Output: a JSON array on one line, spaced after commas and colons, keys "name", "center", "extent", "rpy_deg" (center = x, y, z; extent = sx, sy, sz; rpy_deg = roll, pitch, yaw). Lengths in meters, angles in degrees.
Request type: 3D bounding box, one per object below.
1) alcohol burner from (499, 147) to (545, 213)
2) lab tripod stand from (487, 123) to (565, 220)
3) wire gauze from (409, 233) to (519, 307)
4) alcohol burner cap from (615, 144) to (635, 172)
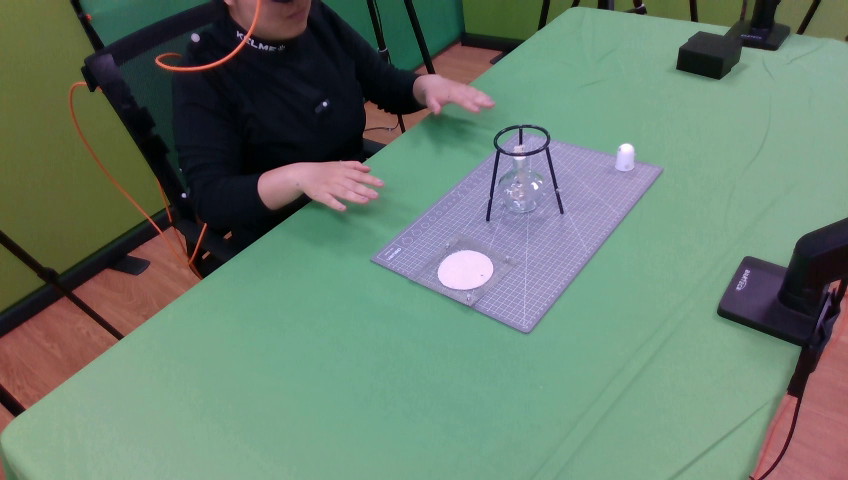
[{"name": "alcohol burner", "center": [0.161, -0.104, 1.001], "extent": [0.078, 0.120, 0.077], "rpy_deg": [-6, 42, 6]}, {"name": "lab tripod stand", "center": [0.162, -0.110, 0.992], "extent": [0.148, 0.132, 0.147], "rpy_deg": [-5, 42, 5]}, {"name": "wire gauze", "center": [0.061, 0.045, 0.925], "extent": [0.120, 0.011, 0.125], "rpy_deg": [25, 52, 35]}, {"name": "alcohol burner cap", "center": [0.357, -0.147, 1.069], "extent": [0.034, 0.048, 0.033], "rpy_deg": [-7, 41, 6]}]
